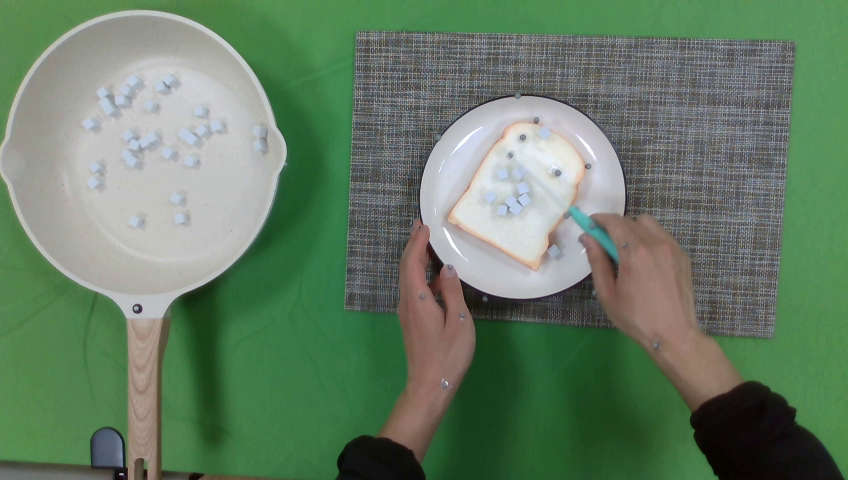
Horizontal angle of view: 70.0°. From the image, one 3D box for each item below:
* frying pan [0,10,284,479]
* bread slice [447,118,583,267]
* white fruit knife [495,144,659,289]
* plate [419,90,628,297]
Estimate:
[{"bbox_3d":[-0.287,0.018,0.630,0.306,0.103,0.486,-1,84,6],"label":"frying pan"},{"bbox_3d":[0.098,-0.055,0.623,0.107,0.018,0.134,26,96,3],"label":"bread slice"},{"bbox_3d":[0.144,-0.027,0.586,0.206,0.027,0.016,43,91,14],"label":"white fruit knife"},{"bbox_3d":[0.100,-0.046,0.622,0.207,0.039,0.207,0,92,5],"label":"plate"}]
